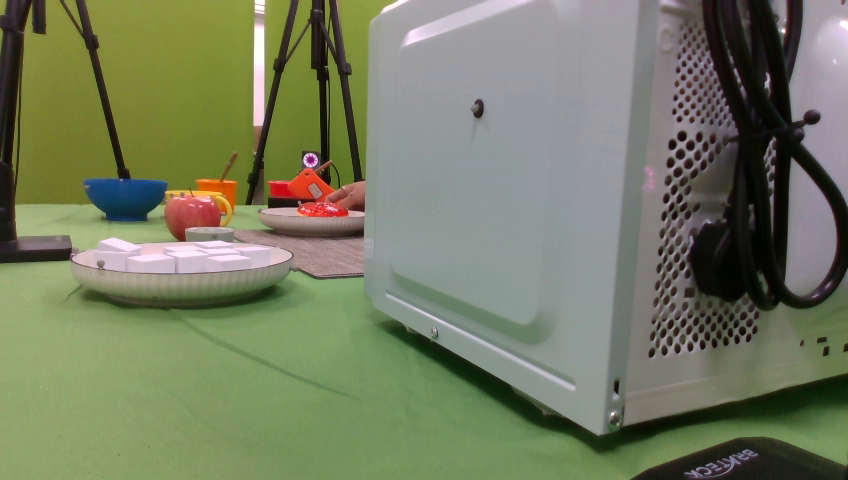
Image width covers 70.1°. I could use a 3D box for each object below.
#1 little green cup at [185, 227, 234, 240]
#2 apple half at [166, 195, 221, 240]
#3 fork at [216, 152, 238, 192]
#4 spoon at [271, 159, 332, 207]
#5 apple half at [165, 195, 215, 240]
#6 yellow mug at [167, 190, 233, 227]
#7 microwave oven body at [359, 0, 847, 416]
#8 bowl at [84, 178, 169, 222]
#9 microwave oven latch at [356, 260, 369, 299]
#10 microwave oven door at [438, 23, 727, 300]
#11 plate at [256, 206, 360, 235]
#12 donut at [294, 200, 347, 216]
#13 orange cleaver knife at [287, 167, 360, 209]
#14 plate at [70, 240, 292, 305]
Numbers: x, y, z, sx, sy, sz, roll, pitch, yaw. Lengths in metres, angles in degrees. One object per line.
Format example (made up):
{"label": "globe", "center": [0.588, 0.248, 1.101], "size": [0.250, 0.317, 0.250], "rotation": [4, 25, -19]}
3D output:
{"label": "little green cup", "center": [-0.285, 0.005, 0.805], "size": [0.061, 0.038, 0.061], "rotation": [2, 8, 0]}
{"label": "apple half", "center": [-0.351, -0.031, 0.935], "size": [0.081, 0.074, 0.053], "rotation": [1, 11, -40]}
{"label": "fork", "center": [-0.455, -0.132, 1.366], "size": [0.028, 0.018, 0.207], "rotation": [-2, -35, -37]}
{"label": "spoon", "center": [-0.308, -0.142, 1.514], "size": [0.193, 0.021, 0.041], "rotation": [-41, 5, 9]}
{"label": "apple half", "center": [-0.377, -0.038, 0.964], "size": [0.082, 0.081, 0.032], "rotation": [-4, 15, -39]}
{"label": "yellow mug", "center": [-0.415, -0.057, 1.132], "size": [0.130, 0.064, 0.100], "rotation": [6, 8, 16]}
{"label": "microwave oven body", "center": [0.211, -0.047, 0.474], "size": [0.444, 0.260, 0.324], "rotation": [-1, 7, -28]}
{"label": "bowl", "center": [-0.584, -0.078, 1.193], "size": [0.151, 0.077, 0.151], "rotation": [3, 8, 0]}
{"label": "microwave oven latch", "center": [-0.019, 0.033, 0.528], "size": [0.079, 0.029, 0.030], "rotation": [0, 7, -22]}
{"label": "microwave oven door", "center": [0.181, -0.072, 0.621], "size": [0.358, 0.243, 0.039], "rotation": [-2, 8, -29]}
{"label": "plate", "center": [-0.202, -0.037, 1.120], "size": [0.209, 0.038, 0.209], "rotation": [2, 8, 0]}
{"label": "donut", "center": [-0.193, -0.049, 1.134], "size": [0.099, 0.048, 0.099], "rotation": [4, 8, 0]}
{"label": "orange cleaver knife", "center": [-0.209, -0.089, 1.383], "size": [0.212, 0.077, 0.012], "rotation": [31, 3, -15]}
{"label": "plate", "center": [-0.242, 0.031, 0.618], "size": [0.208, 0.039, 0.207], "rotation": [2, 8, 0]}
